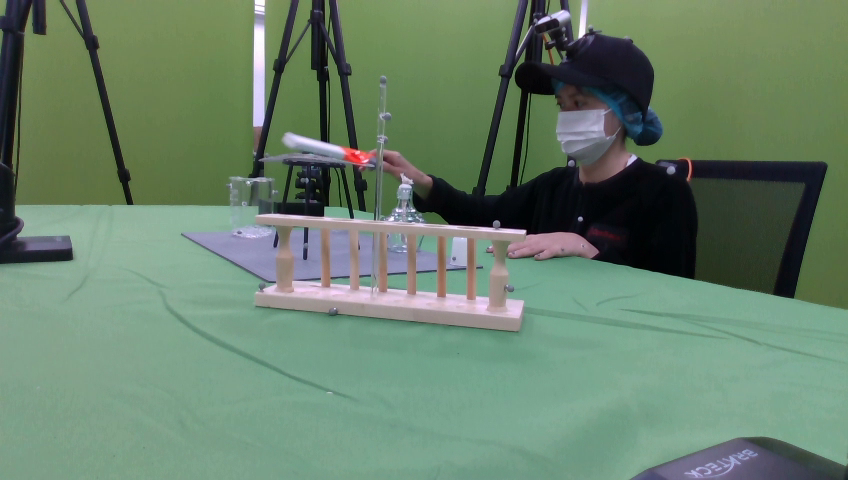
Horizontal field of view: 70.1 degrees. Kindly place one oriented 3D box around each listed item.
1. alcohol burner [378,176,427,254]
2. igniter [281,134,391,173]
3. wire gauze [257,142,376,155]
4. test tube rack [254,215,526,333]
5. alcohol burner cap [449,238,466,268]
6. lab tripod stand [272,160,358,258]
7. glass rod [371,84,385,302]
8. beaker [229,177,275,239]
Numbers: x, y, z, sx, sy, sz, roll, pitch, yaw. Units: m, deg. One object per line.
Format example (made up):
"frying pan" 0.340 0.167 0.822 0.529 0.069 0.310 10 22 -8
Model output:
"alcohol burner" -0.033 -0.039 0.936 0.078 0.119 0.078 1 6 0
"igniter" -0.159 -0.164 1.168 0.057 0.025 0.278 42 20 30
"wire gauze" -0.155 -0.130 0.871 0.124 0.011 0.122 -1 7 36
"test tube rack" -0.030 0.025 0.558 0.242 0.085 0.067 4 7 12
"alcohol burner cap" 0.051 0.015 0.828 0.034 0.048 0.034 2 6 0
"lab tripod stand" -0.159 -0.048 0.876 0.148 0.131 0.148 3 5 0
"glass rod" -0.041 -0.041 0.548 0.008 0.199 0.008 2 2 0
"beaker" -0.292 -0.056 1.023 0.074 0.100 0.083 -1 8 -26
